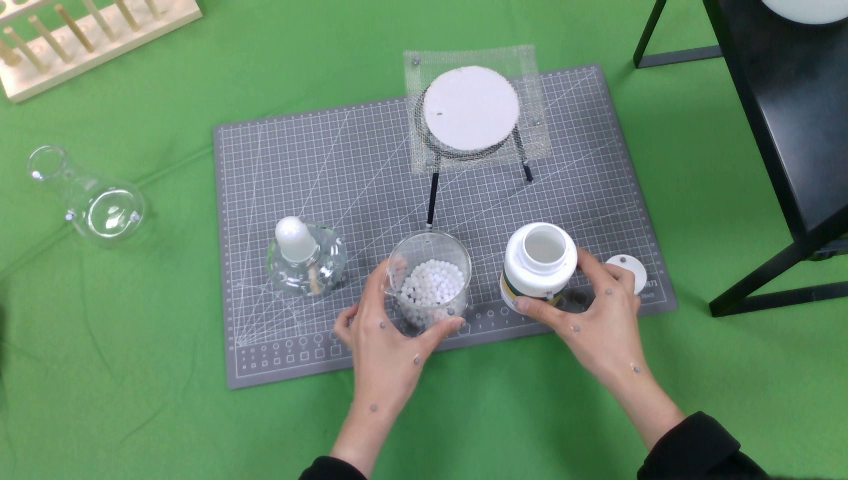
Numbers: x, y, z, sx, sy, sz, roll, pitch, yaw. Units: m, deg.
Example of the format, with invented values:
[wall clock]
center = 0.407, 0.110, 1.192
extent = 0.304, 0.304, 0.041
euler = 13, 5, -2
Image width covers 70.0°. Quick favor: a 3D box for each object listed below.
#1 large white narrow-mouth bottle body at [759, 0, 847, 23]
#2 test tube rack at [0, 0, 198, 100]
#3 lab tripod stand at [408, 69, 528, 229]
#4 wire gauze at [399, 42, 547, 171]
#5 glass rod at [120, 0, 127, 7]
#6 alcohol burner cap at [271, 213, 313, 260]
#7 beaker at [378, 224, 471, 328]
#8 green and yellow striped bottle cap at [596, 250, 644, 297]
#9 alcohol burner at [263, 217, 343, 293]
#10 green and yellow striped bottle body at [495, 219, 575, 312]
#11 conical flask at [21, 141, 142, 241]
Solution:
[large white narrow-mouth bottle body]
center = 0.319, -0.256, 0.427
extent = 0.102, 0.196, 0.101
euler = 0, 68, 1
[test tube rack]
center = -0.400, -0.262, 0.701
extent = 0.242, 0.086, 0.066
euler = -29, 72, -9
[lab tripod stand]
center = 0.038, -0.093, 0.597
extent = 0.148, 0.132, 0.147
euler = 0, 68, 1
[wire gauze]
center = 0.042, -0.122, 0.535
extent = 0.121, 0.011, 0.124
euler = -4, 70, -1
[glass rod]
center = -0.361, -0.326, 0.652
extent = 0.008, 0.201, 0.008
euler = 1, 67, -2
[alcohol burner cap]
center = -0.120, -0.006, 0.542
extent = 0.034, 0.048, 0.033
euler = 0, 63, 0
[beaker]
center = 0.002, 0.040, 0.568
extent = 0.084, 0.101, 0.073
euler = -21, 69, -5
[green and yellow striped bottle cap]
center = 0.197, 0.033, 0.609
extent = 0.045, 0.020, 0.045
euler = -1, 70, 4
[alcohol burner]
center = -0.118, 0.008, 0.576
extent = 0.078, 0.120, 0.077
euler = 0, 68, 0
[green and yellow striped bottle body]
center = 0.101, 0.022, 0.560
extent = 0.063, 0.120, 0.062
euler = -1, 69, 2
[conical flask]
center = -0.344, -0.053, 0.603
extent = 0.075, 0.122, 0.075
euler = -1, 69, 2
